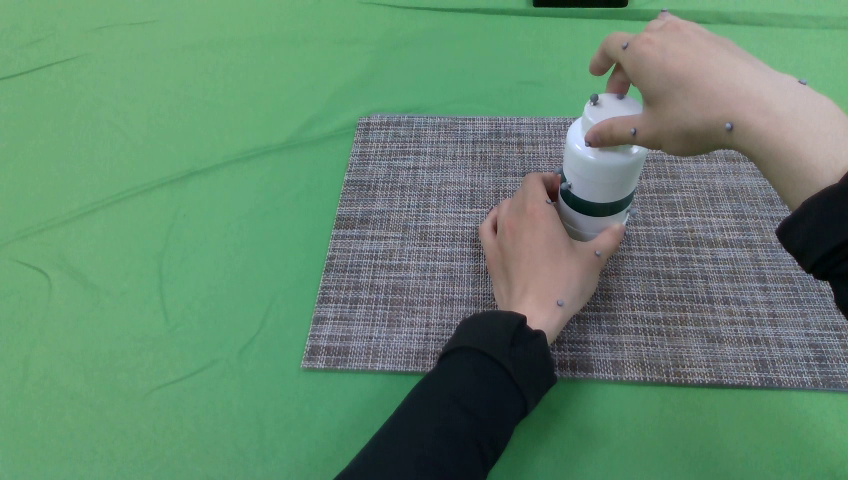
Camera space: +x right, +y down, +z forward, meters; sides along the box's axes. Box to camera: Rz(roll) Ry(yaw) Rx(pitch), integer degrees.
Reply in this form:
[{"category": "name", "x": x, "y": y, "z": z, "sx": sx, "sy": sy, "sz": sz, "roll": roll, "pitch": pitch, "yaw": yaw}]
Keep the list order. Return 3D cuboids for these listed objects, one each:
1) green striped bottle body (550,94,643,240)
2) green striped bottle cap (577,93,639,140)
[{"category": "green striped bottle body", "x": 0.140, "y": -0.060, "z": 0.498, "sx": 0.063, "sy": 0.120, "sz": 0.062, "roll": -2, "pitch": 50, "yaw": 2}, {"category": "green striped bottle cap", "x": 0.139, "y": -0.093, "z": 0.456, "sx": 0.044, "sy": 0.020, "sz": 0.044, "roll": 0, "pitch": 39, "yaw": 0}]
